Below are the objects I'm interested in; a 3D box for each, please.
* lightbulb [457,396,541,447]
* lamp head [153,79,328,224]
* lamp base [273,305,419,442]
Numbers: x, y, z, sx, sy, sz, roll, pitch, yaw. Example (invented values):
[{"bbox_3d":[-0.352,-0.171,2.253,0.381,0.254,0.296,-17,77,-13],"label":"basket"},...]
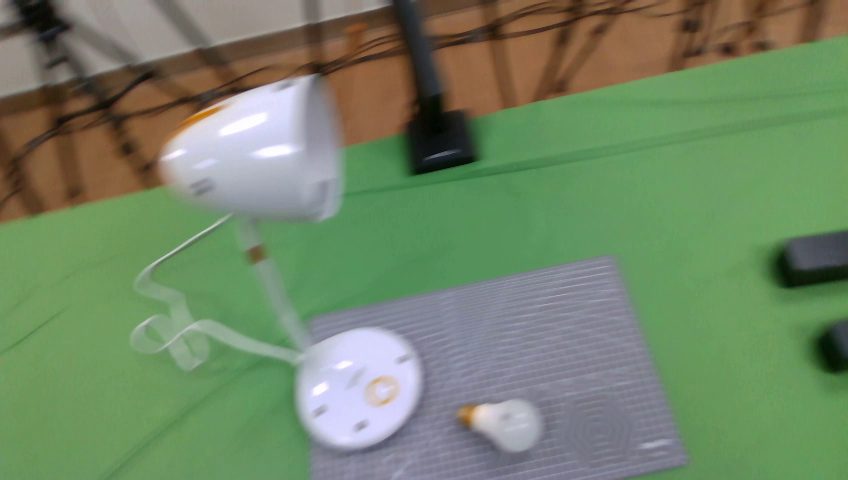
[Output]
[{"bbox_3d":[0.090,0.217,0.742,0.107,0.060,0.059,3,57,30],"label":"lightbulb"},{"bbox_3d":[-0.146,-0.061,0.487,0.123,0.113,0.111,-10,56,10],"label":"lamp head"},{"bbox_3d":[-0.109,0.143,0.741,0.178,0.182,0.159,10,59,18],"label":"lamp base"}]
